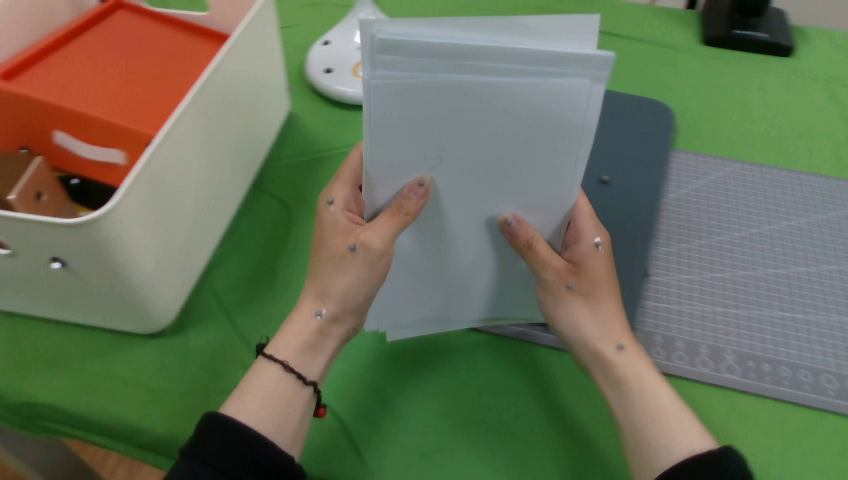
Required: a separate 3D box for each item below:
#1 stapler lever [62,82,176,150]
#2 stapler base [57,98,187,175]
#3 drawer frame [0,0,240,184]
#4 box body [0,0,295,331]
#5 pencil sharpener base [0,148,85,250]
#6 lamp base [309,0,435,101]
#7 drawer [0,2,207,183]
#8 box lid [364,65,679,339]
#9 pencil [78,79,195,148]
[{"bbox_3d":[-0.288,-0.124,0.573,0.118,0.040,0.026,28,40,9],"label":"stapler lever"},{"bbox_3d":[-0.293,-0.106,0.589,0.130,0.024,0.041,27,39,9],"label":"stapler base"},{"bbox_3d":[-0.272,-0.149,0.611,0.202,0.083,0.212,17,41,-3],"label":"drawer frame"},{"bbox_3d":[-0.299,-0.108,0.580,0.254,0.162,0.361,9,49,6],"label":"box body"},{"bbox_3d":[-0.357,-0.024,0.533,0.076,0.108,0.061,2,49,2],"label":"pencil sharpener base"},{"bbox_3d":[-0.068,-0.289,0.730,0.161,0.182,0.177,-7,47,-7],"label":"lamp base"},{"bbox_3d":[-0.272,-0.146,0.610,0.195,0.074,0.210,18,41,-3],"label":"drawer"},{"bbox_3d":[0.121,-0.069,0.653,0.262,0.015,0.369,17,50,14],"label":"box lid"},{"bbox_3d":[-0.293,-0.128,0.612,0.192,0.012,0.012,29,54,25],"label":"pencil"}]
